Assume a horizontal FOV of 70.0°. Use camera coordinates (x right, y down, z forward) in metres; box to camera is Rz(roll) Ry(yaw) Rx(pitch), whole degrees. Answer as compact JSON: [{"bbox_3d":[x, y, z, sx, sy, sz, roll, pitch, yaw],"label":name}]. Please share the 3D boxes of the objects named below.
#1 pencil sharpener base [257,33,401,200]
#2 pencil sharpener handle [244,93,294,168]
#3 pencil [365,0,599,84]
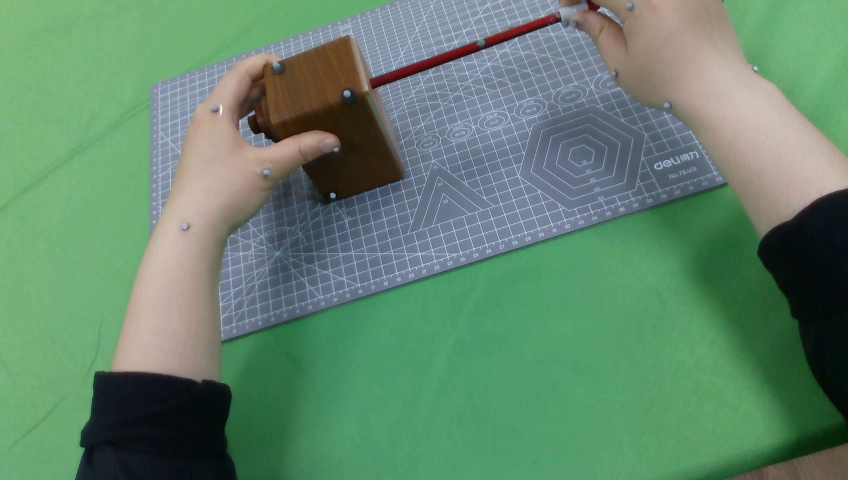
[{"bbox_3d":[-0.070,-0.088,0.460,0.076,0.108,0.061,-19,60,5],"label":"pencil sharpener base"},{"bbox_3d":[-0.121,-0.077,0.453,0.030,0.068,0.035,-19,61,5],"label":"pencil sharpener handle"},{"bbox_3d":[0.028,-0.137,0.429,0.194,0.012,0.012,-16,60,8],"label":"pencil"}]
